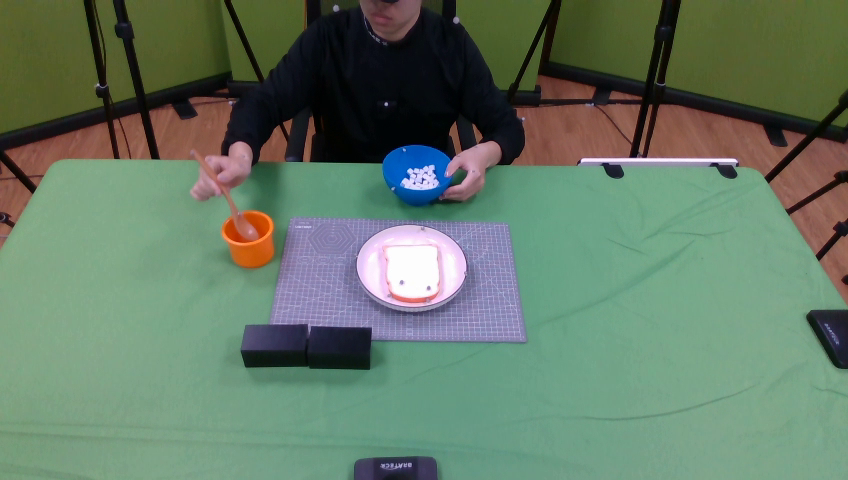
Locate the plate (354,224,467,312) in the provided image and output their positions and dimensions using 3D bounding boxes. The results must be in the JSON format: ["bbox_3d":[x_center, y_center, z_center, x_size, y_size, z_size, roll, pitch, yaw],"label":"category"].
[{"bbox_3d":[-0.025,0.055,1.128,0.209,0.038,0.208,3,46,-2],"label":"plate"}]

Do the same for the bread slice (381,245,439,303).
[{"bbox_3d":[-0.022,0.061,1.126,0.107,0.018,0.133,-3,45,-8],"label":"bread slice"}]

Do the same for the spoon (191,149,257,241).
[{"bbox_3d":[-0.354,-0.079,1.079,0.021,0.194,0.041,-18,24,16],"label":"spoon"}]

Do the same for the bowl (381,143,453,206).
[{"bbox_3d":[-0.016,-0.126,1.278,0.151,0.077,0.150,2,46,-2],"label":"bowl"}]
